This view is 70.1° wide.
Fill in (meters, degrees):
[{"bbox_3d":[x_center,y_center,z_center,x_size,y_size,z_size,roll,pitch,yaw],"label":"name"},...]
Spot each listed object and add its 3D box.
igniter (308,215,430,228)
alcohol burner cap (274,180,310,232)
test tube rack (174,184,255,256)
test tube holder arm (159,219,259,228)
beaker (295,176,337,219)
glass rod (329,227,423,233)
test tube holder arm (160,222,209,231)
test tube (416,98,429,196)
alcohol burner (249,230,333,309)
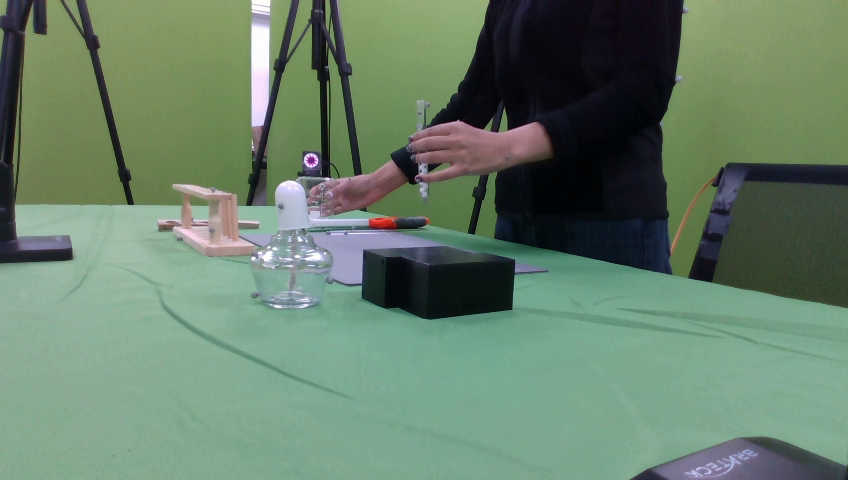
[{"bbox_3d":[-0.109,-0.037,1.228,0.278,0.025,0.057,-3,-1,-36],"label":"igniter"},{"bbox_3d":[-0.125,-0.032,0.563,0.034,0.048,0.034,-5,6,1],"label":"alcohol burner cap"},{"bbox_3d":[-0.327,-0.036,0.928,0.067,0.085,0.241,-2,9,-32],"label":"test tube rack"},{"bbox_3d":[-0.390,-0.030,1.107,0.179,0.015,0.013,-3,45,-39],"label":"test tube holder arm"},{"bbox_3d":[-0.224,-0.081,1.248,0.084,0.100,0.073,1,8,-18],"label":"beaker"},{"bbox_3d":[-0.087,-0.019,1.148,0.201,0.008,0.008,-3,8,-32],"label":"glass rod"},{"bbox_3d":[-0.423,-0.024,1.076,0.088,0.015,0.010,-3,44,-38],"label":"test tube holder arm"},{"bbox_3d":[-0.002,-0.142,0.926,0.017,0.150,0.017,-2,1,0],"label":"test tube"},{"bbox_3d":[-0.125,0.004,0.568,0.078,0.119,0.078,2,9,0],"label":"alcohol burner"}]
